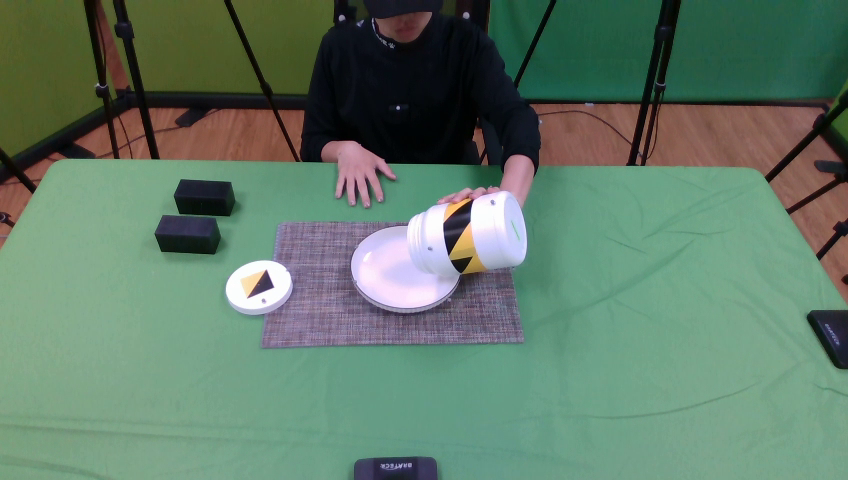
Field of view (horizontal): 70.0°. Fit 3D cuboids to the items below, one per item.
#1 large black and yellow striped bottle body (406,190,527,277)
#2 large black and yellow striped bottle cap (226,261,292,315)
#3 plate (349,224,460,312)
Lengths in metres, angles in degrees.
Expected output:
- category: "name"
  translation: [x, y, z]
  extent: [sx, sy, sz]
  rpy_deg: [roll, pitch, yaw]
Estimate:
- category: "large black and yellow striped bottle body"
  translation: [0.074, -0.007, 1.055]
  extent: [0.184, 0.131, 0.130]
  rpy_deg: [-11, 40, 25]
- category: "large black and yellow striped bottle cap"
  translation: [-0.298, 0.085, 1.092]
  extent: [0.115, 0.019, 0.114]
  rpy_deg: [0, 45, 1]
- category: "plate"
  translation: [-0.035, 0.054, 1.126]
  extent: [0.208, 0.039, 0.206]
  rpy_deg: [2, 46, -2]
